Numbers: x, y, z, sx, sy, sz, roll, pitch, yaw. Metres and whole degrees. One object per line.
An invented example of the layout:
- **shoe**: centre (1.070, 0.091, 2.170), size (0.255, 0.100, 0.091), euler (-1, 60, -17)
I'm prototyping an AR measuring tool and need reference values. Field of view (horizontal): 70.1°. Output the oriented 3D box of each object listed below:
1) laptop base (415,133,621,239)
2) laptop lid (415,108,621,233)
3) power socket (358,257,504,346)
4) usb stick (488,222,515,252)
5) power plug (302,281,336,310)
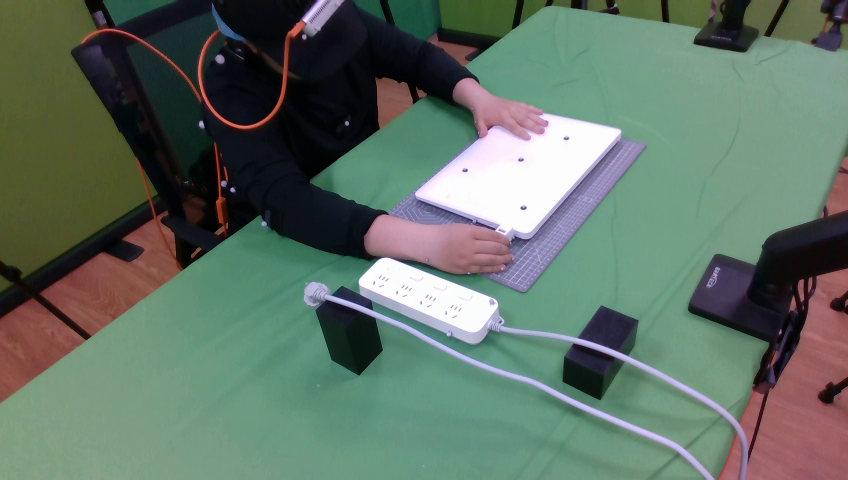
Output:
- **laptop base**: centre (0.179, -0.133, 1.101), size (0.233, 0.023, 0.355), euler (20, 47, 33)
- **laptop lid**: centre (0.176, -0.143, 1.095), size (0.239, 0.013, 0.358), euler (22, 48, 33)
- **power socket**: centre (0.003, 0.084, 0.862), size (0.225, 0.033, 0.072), euler (20, 49, 28)
- **usb stick**: centre (0.125, -0.008, 0.943), size (0.021, 0.027, 0.059), euler (27, 45, 27)
- **power plug**: centre (-0.132, 0.081, 0.783), size (0.035, 0.053, 0.072), euler (-44, 48, -7)
